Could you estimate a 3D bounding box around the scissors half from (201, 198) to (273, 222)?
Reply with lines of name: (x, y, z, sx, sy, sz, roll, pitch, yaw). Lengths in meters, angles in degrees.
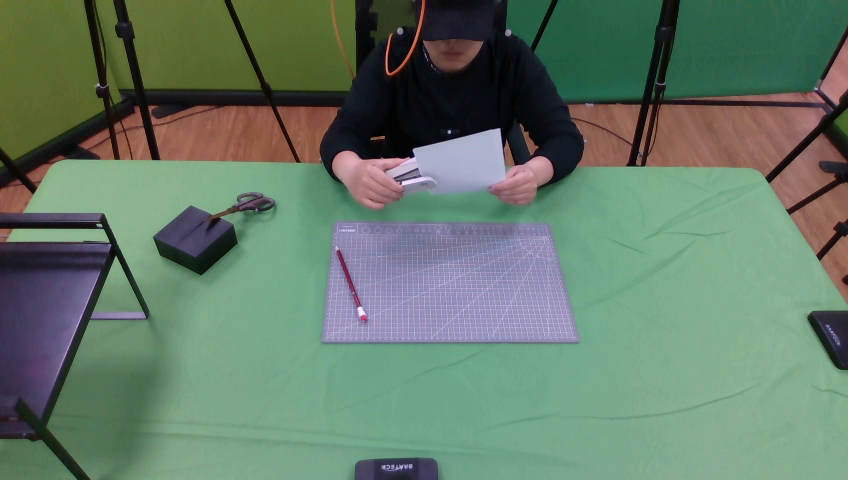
scissors half: (-0.365, -0.056, 1.192, 0.040, 0.013, 0.175, 38, 32, 22)

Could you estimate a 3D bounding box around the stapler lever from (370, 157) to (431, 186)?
stapler lever: (-0.044, -0.127, 1.142, 0.118, 0.027, 0.040, -11, 69, 21)

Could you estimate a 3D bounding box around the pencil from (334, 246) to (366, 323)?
pencil: (-0.140, 0.077, 1.116, 0.012, 0.012, 0.192, -14, 48, -17)

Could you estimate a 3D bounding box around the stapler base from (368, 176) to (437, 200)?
stapler base: (-0.041, -0.104, 1.135, 0.130, 0.041, 0.024, -12, 68, 20)

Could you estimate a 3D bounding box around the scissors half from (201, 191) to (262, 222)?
scissors half: (-0.381, -0.066, 1.198, 0.040, 0.013, 0.175, 24, 28, 10)
